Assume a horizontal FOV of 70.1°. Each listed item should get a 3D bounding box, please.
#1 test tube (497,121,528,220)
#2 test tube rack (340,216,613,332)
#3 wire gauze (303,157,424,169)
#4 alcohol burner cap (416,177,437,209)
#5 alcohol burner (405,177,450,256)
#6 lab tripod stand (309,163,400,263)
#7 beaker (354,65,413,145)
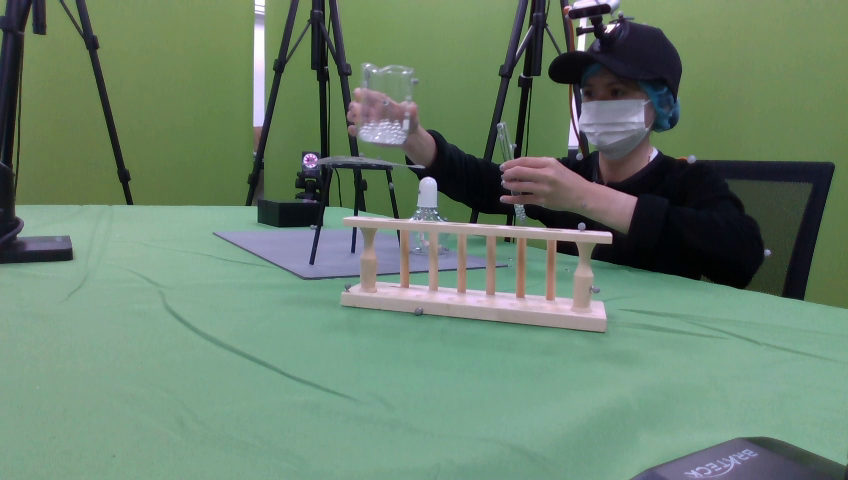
[{"bbox_3d":[0.133,-0.103,0.905,0.017,0.150,0.017,-13,5,2],"label":"test tube"},{"bbox_3d":[0.048,0.026,0.568,0.242,0.085,0.067,4,7,13],"label":"test tube rack"},{"bbox_3d":[-0.082,-0.103,0.799,0.126,0.011,0.121,-1,7,-30],"label":"wire gauze"},{"bbox_3d":[0.005,-0.072,0.914,0.034,0.048,0.034,4,10,0],"label":"alcohol burner cap"},{"bbox_3d":[0.004,-0.036,0.917,0.078,0.119,0.078,3,6,0],"label":"alcohol burner"},{"bbox_3d":[-0.091,-0.037,0.813,0.148,0.131,0.148,1,6,0],"label":"lab tripod stand"},{"bbox_3d":[-0.056,-0.180,0.811,0.074,0.100,0.084,6,11,8],"label":"beaker"}]
